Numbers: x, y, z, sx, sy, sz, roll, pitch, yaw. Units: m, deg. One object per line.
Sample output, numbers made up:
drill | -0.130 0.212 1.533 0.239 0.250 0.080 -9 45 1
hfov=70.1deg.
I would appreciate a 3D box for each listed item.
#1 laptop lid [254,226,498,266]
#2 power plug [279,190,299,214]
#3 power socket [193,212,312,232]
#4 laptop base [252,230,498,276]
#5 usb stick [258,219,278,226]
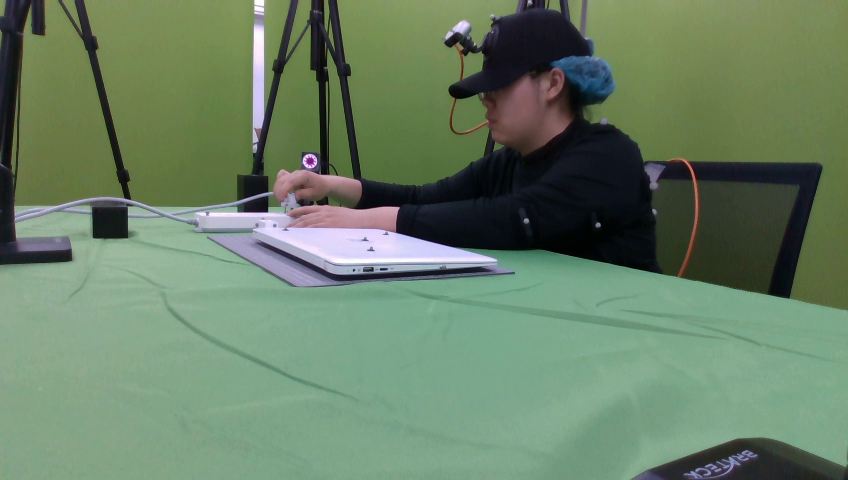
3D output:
laptop lid | -0.086 0.005 0.876 0.243 0.013 0.355 1 7 -30
power plug | -0.272 -0.073 1.216 0.035 0.052 0.072 5 4 -21
power socket | -0.322 -0.036 1.151 0.228 0.032 0.072 -2 8 -34
laptop base | -0.089 0.016 0.876 0.237 0.023 0.352 2 6 -32
usb stick | -0.255 -0.018 0.996 0.021 0.027 0.059 -2 12 -29
